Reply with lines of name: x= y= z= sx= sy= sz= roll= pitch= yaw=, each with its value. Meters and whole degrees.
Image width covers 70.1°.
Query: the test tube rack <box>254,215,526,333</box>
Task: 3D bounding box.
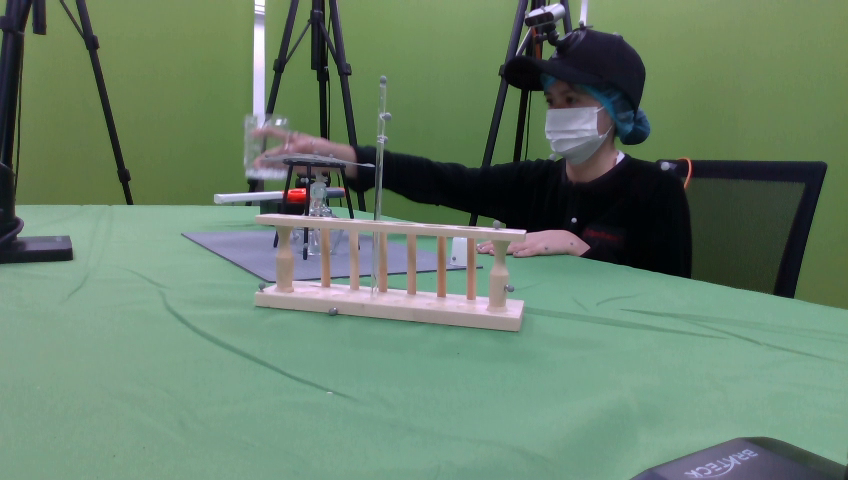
test tube rack: x=-0.030 y=0.025 z=0.557 sx=0.242 sy=0.085 sz=0.067 roll=4 pitch=7 yaw=12

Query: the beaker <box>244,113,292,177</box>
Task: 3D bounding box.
beaker: x=-0.261 y=-0.155 z=0.999 sx=0.074 sy=0.100 sz=0.083 roll=0 pitch=4 yaw=-31

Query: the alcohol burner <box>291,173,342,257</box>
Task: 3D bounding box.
alcohol burner: x=-0.155 y=-0.037 z=0.870 sx=0.078 sy=0.119 sz=0.078 roll=1 pitch=6 yaw=0

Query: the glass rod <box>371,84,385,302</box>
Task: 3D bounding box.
glass rod: x=-0.041 y=-0.041 z=0.548 sx=0.008 sy=0.199 sz=0.008 roll=2 pitch=2 yaw=0

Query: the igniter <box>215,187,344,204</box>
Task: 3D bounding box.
igniter: x=-0.289 y=-0.093 z=1.255 sx=0.278 sy=0.025 sz=0.057 roll=-6 pitch=11 yaw=-35

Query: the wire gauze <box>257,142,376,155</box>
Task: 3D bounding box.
wire gauze: x=-0.155 y=-0.130 z=0.871 sx=0.124 sy=0.011 sz=0.122 roll=-1 pitch=7 yaw=36

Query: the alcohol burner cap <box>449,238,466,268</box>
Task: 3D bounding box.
alcohol burner cap: x=0.051 y=0.014 z=0.827 sx=0.034 sy=0.048 sz=0.034 roll=2 pitch=6 yaw=0

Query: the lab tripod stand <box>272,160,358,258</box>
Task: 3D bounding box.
lab tripod stand: x=-0.159 y=-0.048 z=0.876 sx=0.148 sy=0.131 sz=0.148 roll=3 pitch=5 yaw=0
